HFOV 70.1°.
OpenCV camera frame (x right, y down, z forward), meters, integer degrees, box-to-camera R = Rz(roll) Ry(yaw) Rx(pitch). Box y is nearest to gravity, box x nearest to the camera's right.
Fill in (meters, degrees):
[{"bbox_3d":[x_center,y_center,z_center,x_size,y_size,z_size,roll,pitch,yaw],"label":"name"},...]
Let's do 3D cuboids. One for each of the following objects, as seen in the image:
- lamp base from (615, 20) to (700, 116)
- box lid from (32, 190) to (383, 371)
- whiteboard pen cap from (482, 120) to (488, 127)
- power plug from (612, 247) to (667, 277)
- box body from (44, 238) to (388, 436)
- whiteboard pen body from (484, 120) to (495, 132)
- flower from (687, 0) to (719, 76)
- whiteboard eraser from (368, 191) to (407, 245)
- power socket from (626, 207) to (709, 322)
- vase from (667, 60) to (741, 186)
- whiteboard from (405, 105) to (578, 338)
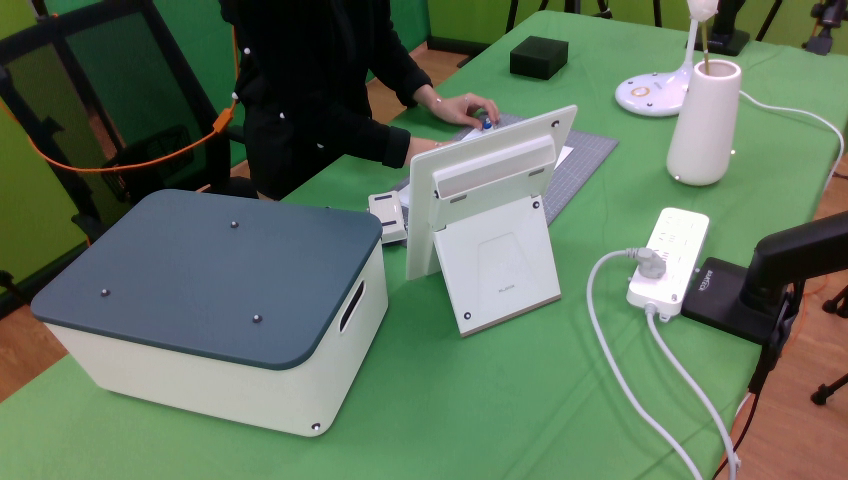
[{"bbox_3d":[0.484,-0.364,1.211,0.180,0.181,0.159,-15,41,-14],"label":"lamp base"},{"bbox_3d":[-0.257,0.032,0.750,0.370,0.015,0.263,7,42,16],"label":"box lid"},{"bbox_3d":[0.130,-0.227,1.223,0.018,0.018,0.033,-13,47,-7],"label":"whiteboard pen cap"},{"bbox_3d":[0.306,0.031,0.852,0.072,0.053,0.035,21,48,37],"label":"power plug"},{"bbox_3d":[-0.251,0.088,0.799,0.362,0.161,0.254,7,42,16],"label":"box body"},{"bbox_3d":[0.129,-0.152,1.043,0.017,0.142,0.017,-13,50,16],"label":"whiteboard pen body"},{"bbox_3d":[0.436,-0.242,0.934,0.038,0.364,0.043,-24,49,9],"label":"flower"},{"bbox_3d":[-0.061,-0.035,1.006,0.056,0.042,0.112,-9,40,-3],"label":"whiteboard eraser"},{"bbox_3d":[0.360,0.026,0.886,0.072,0.033,0.227,17,46,27],"label":"power socket"},{"bbox_3d":[0.463,-0.189,0.994,0.098,0.201,0.097,-4,40,4],"label":"vase"},{"bbox_3d":[0.102,0.003,0.787,0.218,0.306,0.143,-19,62,-14],"label":"whiteboard"}]
